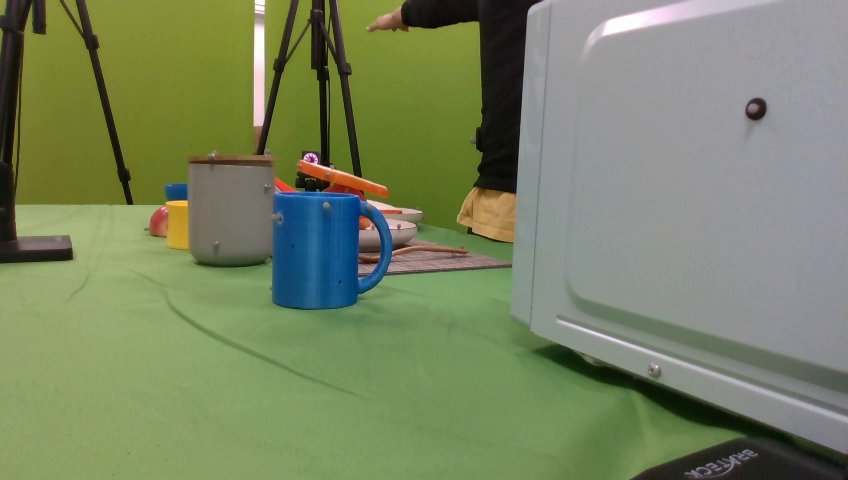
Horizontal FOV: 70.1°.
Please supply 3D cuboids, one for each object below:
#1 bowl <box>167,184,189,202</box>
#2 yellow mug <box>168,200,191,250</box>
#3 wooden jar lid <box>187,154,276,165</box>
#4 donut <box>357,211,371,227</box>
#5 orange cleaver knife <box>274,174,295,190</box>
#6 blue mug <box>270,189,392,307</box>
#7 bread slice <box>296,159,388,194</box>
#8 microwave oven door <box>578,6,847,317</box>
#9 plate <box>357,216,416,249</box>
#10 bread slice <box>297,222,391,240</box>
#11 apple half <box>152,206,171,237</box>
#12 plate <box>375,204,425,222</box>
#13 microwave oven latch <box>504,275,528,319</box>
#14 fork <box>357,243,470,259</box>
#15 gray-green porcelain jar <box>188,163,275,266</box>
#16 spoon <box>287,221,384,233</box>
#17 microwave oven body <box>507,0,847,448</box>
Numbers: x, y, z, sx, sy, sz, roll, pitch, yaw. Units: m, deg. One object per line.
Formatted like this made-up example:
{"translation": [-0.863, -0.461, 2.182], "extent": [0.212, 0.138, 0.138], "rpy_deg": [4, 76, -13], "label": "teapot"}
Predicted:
{"translation": [-0.408, -0.064, 1.154], "extent": [0.151, 0.077, 0.151], "rpy_deg": [2, 8, 0], "label": "bowl"}
{"translation": [-0.320, -0.023, 0.904], "extent": [0.130, 0.064, 0.100], "rpy_deg": [8, 10, 36], "label": "yellow mug"}
{"translation": [-0.244, -0.097, 0.771], "extent": [0.108, 0.020, 0.108], "rpy_deg": [-1, 7, 0], "label": "wooden jar lid"}
{"translation": [-0.129, -0.041, 0.956], "extent": [0.099, 0.048, 0.099], "rpy_deg": [2, 7, 0], "label": "donut"}
{"translation": [-0.283, -0.087, 1.343], "extent": [0.212, 0.077, 0.012], "rpy_deg": [23, -15, -41], "label": "orange cleaver knife"}
{"translation": [-0.090, 0.005, 0.588], "extent": [0.117, 0.106, 0.082], "rpy_deg": [1, 7, -11], "label": "blue mug"}
{"translation": [-0.132, -0.102, 0.952], "extent": [0.132, 0.019, 0.104], "rpy_deg": [13, 6, -36], "label": "bread slice"}
{"translation": [0.294, -0.067, 0.570], "extent": [0.358, 0.243, 0.039], "rpy_deg": [-3, 9, -31], "label": "microwave oven door"}
{"translation": [-0.116, -0.014, 0.967], "extent": [0.208, 0.039, 0.207], "rpy_deg": [2, 7, 0], "label": "plate"}
{"translation": [-0.121, -0.015, 0.970], "extent": [0.106, 0.018, 0.135], "rpy_deg": [10, 9, 40], "label": "bread slice"}
{"translation": [-0.415, -0.034, 1.017], "extent": [0.081, 0.053, 0.074], "rpy_deg": [1, 10, -8], "label": "apple half"}
{"translation": [-0.102, -0.053, 1.299], "extent": [0.209, 0.038, 0.209], "rpy_deg": [2, 8, 0], "label": "plate"}
{"translation": [0.100, 0.041, 0.471], "extent": [0.079, 0.029, 0.030], "rpy_deg": [-1, 7, -27], "label": "microwave oven latch"}
{"translation": [-0.017, 0.014, 0.845], "extent": [0.208, 0.018, 0.028], "rpy_deg": [-5, -1, -35], "label": "fork"}
{"translation": [-0.246, -0.034, 0.779], "extent": [0.106, 0.126, 0.106], "rpy_deg": [1, 7, 0], "label": "gray-green porcelain jar"}
{"translation": [-0.157, -0.027, 1.110], "extent": [0.195, 0.021, 0.041], "rpy_deg": [-4, -14, -35], "label": "spoon"}
{"translation": [0.331, -0.042, 0.425], "extent": [0.444, 0.260, 0.324], "rpy_deg": [-2, 8, -31], "label": "microwave oven body"}
